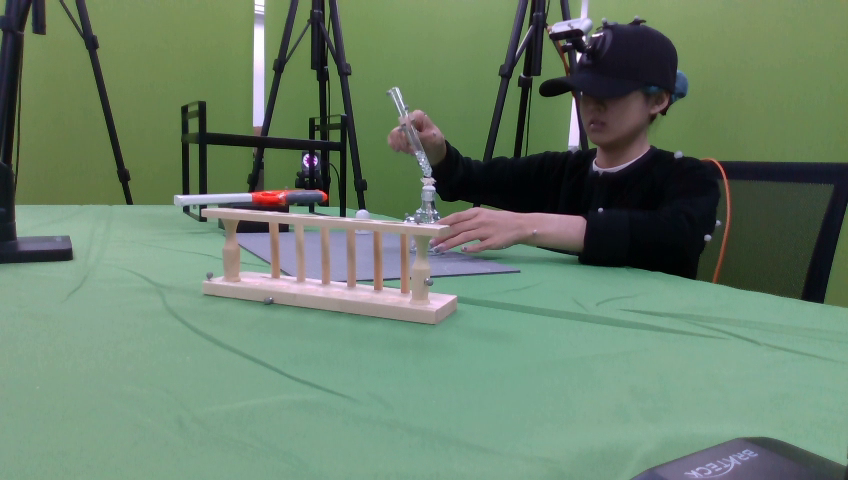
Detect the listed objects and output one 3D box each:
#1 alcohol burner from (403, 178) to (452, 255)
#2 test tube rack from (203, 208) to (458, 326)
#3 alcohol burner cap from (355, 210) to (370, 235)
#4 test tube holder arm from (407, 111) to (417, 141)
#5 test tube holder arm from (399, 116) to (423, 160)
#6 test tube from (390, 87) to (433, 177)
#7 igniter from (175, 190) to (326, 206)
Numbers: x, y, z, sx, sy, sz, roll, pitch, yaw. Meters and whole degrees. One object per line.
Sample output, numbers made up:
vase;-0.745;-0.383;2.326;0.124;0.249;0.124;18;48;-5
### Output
alcohol burner;0.005;-0.036;0.923;0.078;0.119;0.078;5;7;0
test tube rack;-0.090;0.019;0.579;0.241;0.085;0.067;5;7;19
alcohol burner cap;-0.116;-0.033;1.136;0.034;0.048;0.034;2;7;0
test tube holder arm;-0.018;-0.177;0.954;0.010;0.015;0.088;-22;-13;-6
test tube holder arm;-0.020;-0.165;0.997;0.013;0.015;0.179;-23;-13;2
test tube;-0.018;-0.166;0.929;0.017;0.150;0.017;-22;-6;-2
igniter;-0.315;-0.079;1.128;0.278;0.025;0.057;-5;13;-34
